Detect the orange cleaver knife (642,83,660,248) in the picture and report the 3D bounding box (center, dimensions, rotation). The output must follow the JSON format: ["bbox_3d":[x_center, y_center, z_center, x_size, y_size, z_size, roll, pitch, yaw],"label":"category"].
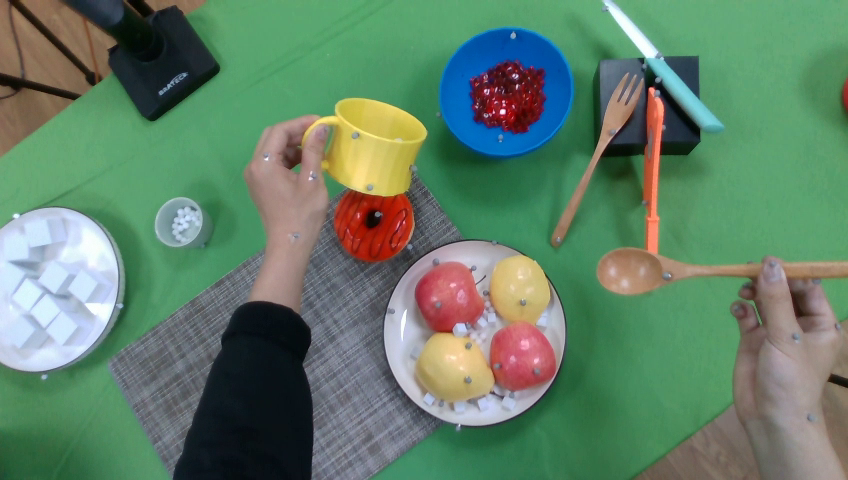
[{"bbox_3d":[0.250,-0.064,0.673,0.012,0.077,0.212,0,107,12],"label":"orange cleaver knife"}]

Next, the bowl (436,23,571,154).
[{"bbox_3d":[0.093,-0.165,0.710,0.151,0.077,0.151,-1,82,7],"label":"bowl"}]

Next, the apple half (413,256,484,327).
[{"bbox_3d":[0.026,0.059,0.684,0.074,0.053,0.080,-19,83,5],"label":"apple half"}]

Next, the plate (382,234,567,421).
[{"bbox_3d":[0.057,0.098,0.693,0.209,0.038,0.208,-1,81,7],"label":"plate"}]

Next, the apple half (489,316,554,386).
[{"bbox_3d":[0.100,0.124,0.666,0.081,0.033,0.081,1,93,28],"label":"apple half"}]

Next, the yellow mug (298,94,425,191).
[{"bbox_3d":[-0.068,-0.104,0.636,0.099,0.131,0.064,52,134,42],"label":"yellow mug"}]

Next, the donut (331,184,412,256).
[{"bbox_3d":[-0.063,-0.029,0.723,0.099,0.048,0.099,-1,84,9],"label":"donut"}]

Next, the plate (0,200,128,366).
[{"bbox_3d":[-0.469,0.054,0.769,0.207,0.039,0.207,-1,81,7],"label":"plate"}]

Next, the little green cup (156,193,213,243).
[{"bbox_3d":[-0.297,-0.024,0.759,0.061,0.039,0.061,-1,81,8],"label":"little green cup"}]

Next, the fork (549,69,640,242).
[{"bbox_3d":[0.187,-0.090,0.683,0.028,0.018,0.208,22,105,1],"label":"fork"}]

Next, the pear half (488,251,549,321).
[{"bbox_3d":[0.102,0.057,0.679,0.070,0.031,0.088,-8,90,29],"label":"pear half"}]

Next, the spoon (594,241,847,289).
[{"bbox_3d":[0.237,0.020,0.491,0.193,0.022,0.041,-1,85,31],"label":"spoon"}]

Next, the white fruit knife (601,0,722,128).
[{"bbox_3d":[0.257,-0.203,0.677,0.027,0.016,0.206,-28,75,-27],"label":"white fruit knife"}]

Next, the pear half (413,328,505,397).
[{"bbox_3d":[0.043,0.144,0.674,0.109,0.056,0.076,27,90,6],"label":"pear half"}]
